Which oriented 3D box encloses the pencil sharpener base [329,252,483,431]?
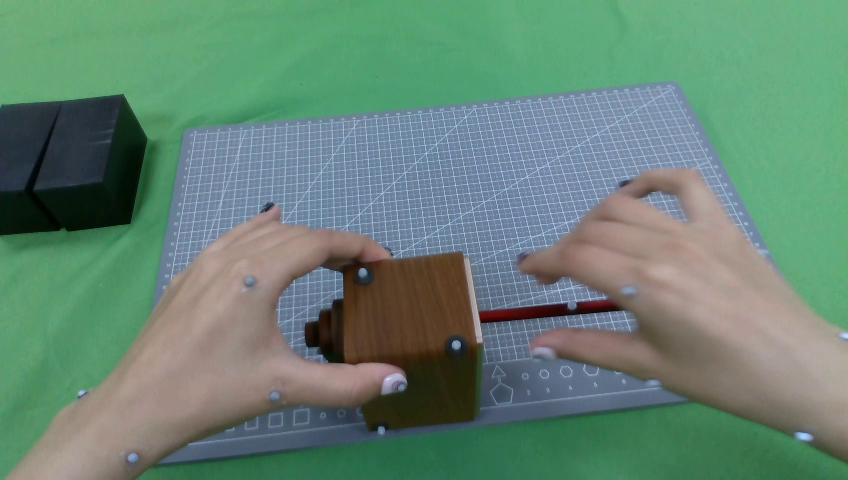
[{"bbox_3d":[-0.009,0.063,0.352,0.077,0.108,0.060,-6,54,-1],"label":"pencil sharpener base"}]

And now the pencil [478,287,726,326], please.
[{"bbox_3d":[0.070,0.040,0.332,0.194,0.012,0.012,-5,53,-2],"label":"pencil"}]

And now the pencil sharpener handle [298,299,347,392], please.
[{"bbox_3d":[-0.060,0.063,0.338,0.030,0.068,0.035,-6,42,-1],"label":"pencil sharpener handle"}]
